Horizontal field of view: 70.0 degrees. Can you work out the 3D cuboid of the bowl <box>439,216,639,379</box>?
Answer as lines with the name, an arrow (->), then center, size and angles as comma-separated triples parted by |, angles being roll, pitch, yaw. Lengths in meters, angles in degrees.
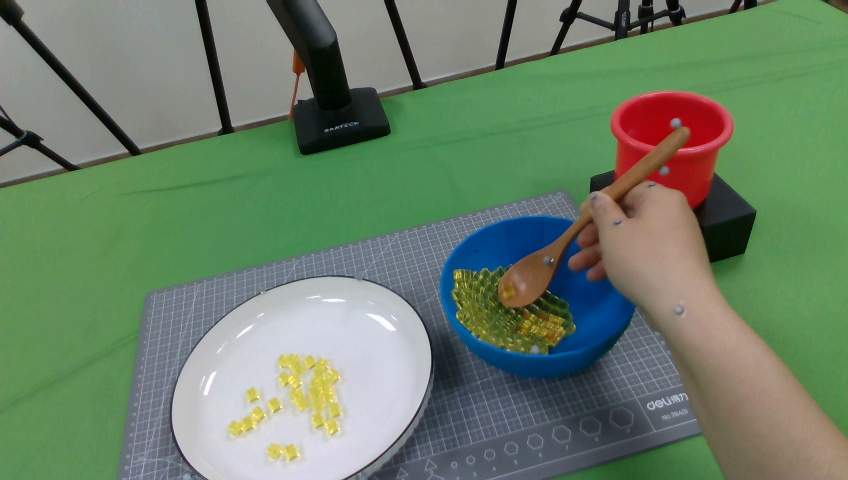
bowl -> 0.091, 0.058, 0.487 | 0.151, 0.077, 0.150 | -5, 42, 5

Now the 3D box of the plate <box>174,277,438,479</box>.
plate -> -0.090, 0.115, 0.489 | 0.207, 0.039, 0.205 | -5, 42, 5

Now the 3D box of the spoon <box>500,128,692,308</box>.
spoon -> 0.122, -0.011, 0.452 | 0.022, 0.194, 0.041 | 15, 42, -30
